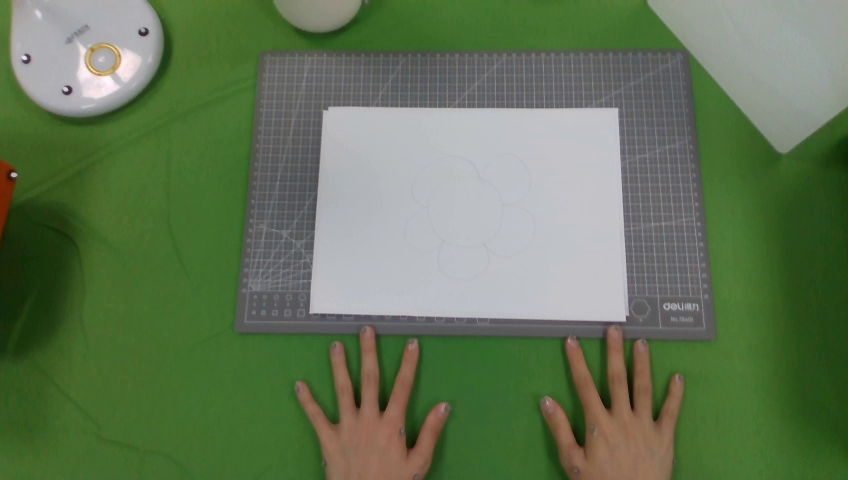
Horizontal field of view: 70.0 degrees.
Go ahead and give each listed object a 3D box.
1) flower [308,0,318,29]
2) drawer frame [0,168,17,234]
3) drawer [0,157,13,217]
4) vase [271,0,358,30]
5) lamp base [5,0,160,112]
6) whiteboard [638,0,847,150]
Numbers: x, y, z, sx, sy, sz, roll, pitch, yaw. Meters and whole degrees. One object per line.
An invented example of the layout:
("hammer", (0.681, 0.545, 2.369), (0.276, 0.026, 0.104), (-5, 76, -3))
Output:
("flower", (-0.117, -0.328, 0.493), (0.038, 0.365, 0.043), (-13, 57, -8))
("drawer frame", (-0.502, 0.007, 0.523), (0.213, 0.083, 0.200), (4, 76, 1))
("drawer", (-0.496, 0.005, 0.521), (0.212, 0.073, 0.193), (4, 77, 3))
("vase", (-0.120, -0.289, 0.568), (0.098, 0.201, 0.097), (-1, 75, 4))
("lamp base", (-0.375, -0.236, 0.573), (0.178, 0.181, 0.160), (33, 79, 13))
("whiteboard", (0.379, -0.266, 0.521), (0.144, 0.307, 0.216), (-28, 75, -24))
